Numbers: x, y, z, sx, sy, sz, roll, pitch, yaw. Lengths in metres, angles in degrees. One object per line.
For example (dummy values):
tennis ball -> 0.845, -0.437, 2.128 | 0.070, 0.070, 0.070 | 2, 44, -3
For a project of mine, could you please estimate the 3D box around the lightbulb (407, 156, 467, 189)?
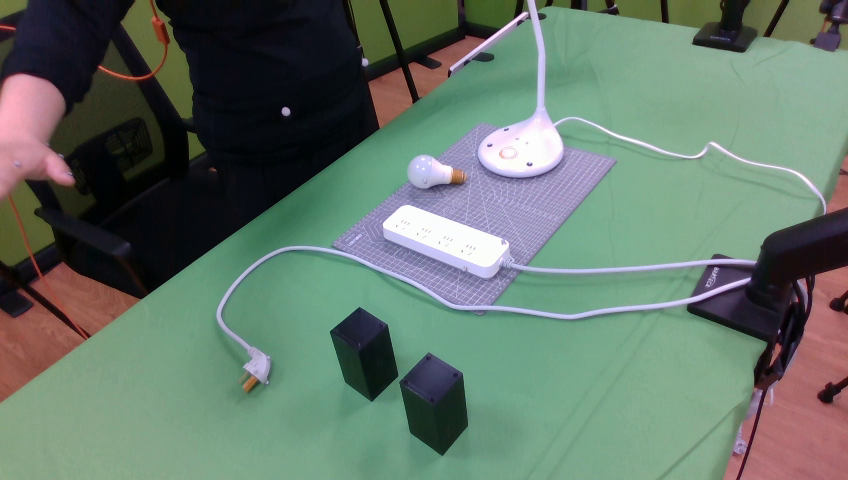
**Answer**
lightbulb -> 0.023, -0.117, 1.080 | 0.108, 0.059, 0.059 | 7, 40, -7

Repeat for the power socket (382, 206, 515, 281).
power socket -> 0.032, 0.002, 0.950 | 0.225, 0.033, 0.072 | 21, 49, 29

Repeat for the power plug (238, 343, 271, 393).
power plug -> -0.229, 0.172, 0.801 | 0.072, 0.035, 0.053 | 8, 51, 52

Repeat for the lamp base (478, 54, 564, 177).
lamp base -> 0.180, -0.232, 1.090 | 0.159, 0.181, 0.180 | 21, 45, 30
